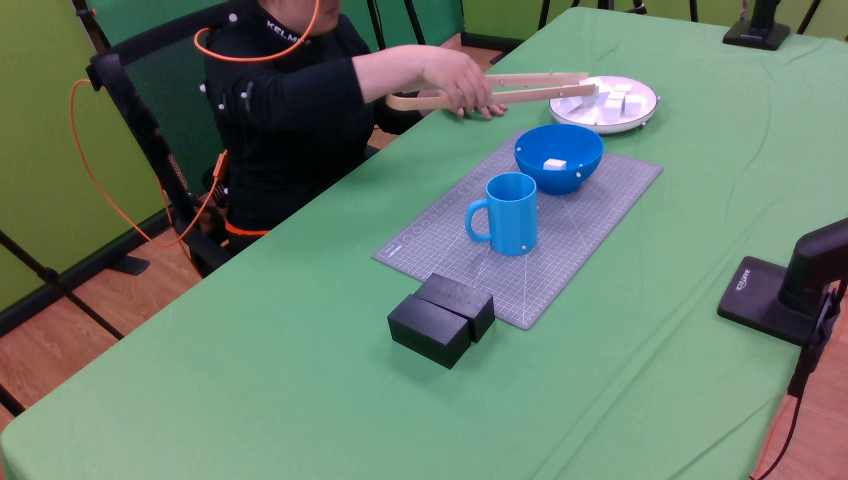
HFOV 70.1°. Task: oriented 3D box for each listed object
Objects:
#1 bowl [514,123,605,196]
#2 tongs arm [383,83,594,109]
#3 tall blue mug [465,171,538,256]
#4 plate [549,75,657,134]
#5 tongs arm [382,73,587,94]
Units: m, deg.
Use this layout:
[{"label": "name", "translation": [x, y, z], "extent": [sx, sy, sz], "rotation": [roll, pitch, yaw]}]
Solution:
[{"label": "bowl", "translation": [0.232, -0.131, 1.046], "extent": [0.151, 0.077, 0.150], "rotation": [-5, 40, 5]}, {"label": "tongs arm", "translation": [0.120, -0.261, 1.084], "extent": [0.389, 0.028, 0.028], "rotation": [-5, 53, -9]}, {"label": "tall blue mug", "translation": [0.125, -0.033, 0.925], "extent": [0.107, 0.108, 0.077], "rotation": [-32, 46, -25]}, {"label": "plate", "translation": [0.357, -0.269, 1.220], "extent": [0.209, 0.038, 0.208], "rotation": [-5, 41, 5]}, {"label": "tongs arm", "translation": [0.116, -0.278, 1.099], "extent": [0.386, 0.026, 0.050], "rotation": [-2, 49, -7]}]
